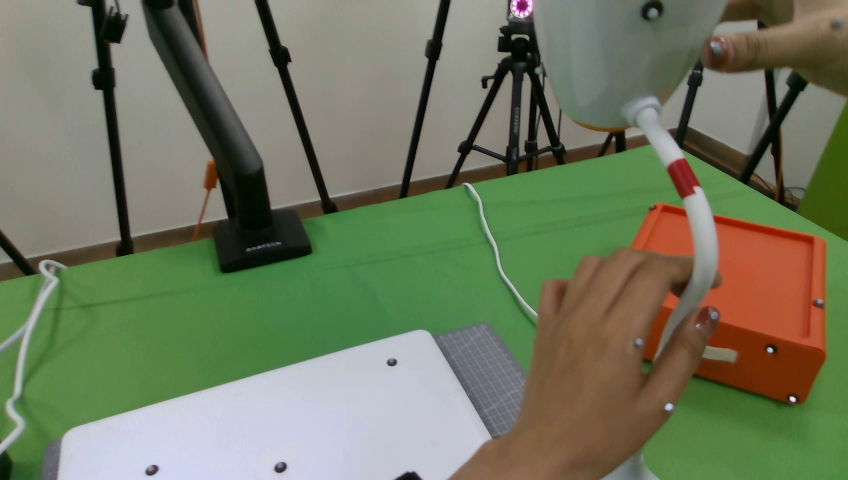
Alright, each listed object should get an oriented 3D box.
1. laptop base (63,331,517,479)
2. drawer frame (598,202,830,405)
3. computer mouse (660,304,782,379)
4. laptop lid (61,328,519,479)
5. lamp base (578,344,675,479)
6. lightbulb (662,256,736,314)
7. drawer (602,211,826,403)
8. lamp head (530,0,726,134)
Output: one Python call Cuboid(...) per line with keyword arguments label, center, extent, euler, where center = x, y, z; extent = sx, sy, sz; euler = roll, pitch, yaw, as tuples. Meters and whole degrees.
Cuboid(label="laptop base", center=(-0.117, 0.201, 0.519), extent=(0.355, 0.023, 0.232), euler=(-13, 38, -18))
Cuboid(label="drawer frame", center=(0.322, 0.055, 0.669), extent=(0.200, 0.083, 0.213), euler=(15, 35, 24))
Cuboid(label="computer mouse", center=(0.305, 0.102, 0.623), extent=(0.116, 0.041, 0.062), euler=(15, 35, 16))
Cuboid(label="laptop lid", center=(-0.116, 0.192, 0.510), extent=(0.357, 0.013, 0.239), euler=(-12, 37, -16))
Cuboid(label="lamp base", center=(0.151, 0.172, 0.400), extent=(0.161, 0.181, 0.177), euler=(-2, 31, -3))
Cuboid(label="lightbulb", center=(0.314, 0.055, 0.686), extent=(0.059, 0.060, 0.107), euler=(-6, 17, -7))
Cuboid(label="drawer", center=(0.322, 0.058, 0.667), extent=(0.193, 0.074, 0.211), euler=(15, 35, 25))
Cuboid(label="lamp head", center=(0.118, -0.123, 0.360), extent=(0.112, 0.124, 0.111), euler=(-5, 47, 6))
